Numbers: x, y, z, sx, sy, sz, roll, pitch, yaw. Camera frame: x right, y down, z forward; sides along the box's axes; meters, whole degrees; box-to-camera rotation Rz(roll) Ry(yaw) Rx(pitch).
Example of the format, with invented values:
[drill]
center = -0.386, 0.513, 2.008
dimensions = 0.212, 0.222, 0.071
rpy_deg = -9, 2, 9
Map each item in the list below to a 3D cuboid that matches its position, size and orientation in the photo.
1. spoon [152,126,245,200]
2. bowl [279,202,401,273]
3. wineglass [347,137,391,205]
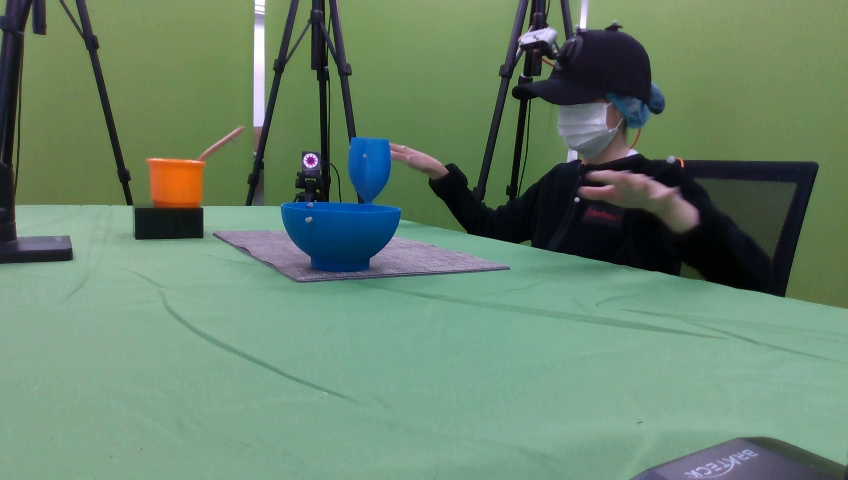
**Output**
[spoon]
center = -0.376, -0.131, 1.017
dimensions = 0.041, 0.194, 0.022
rpy_deg = 13, -32, 55
[bowl]
center = -0.105, -0.003, 0.756
dimensions = 0.151, 0.077, 0.151
rpy_deg = 3, 7, 0
[wineglass]
center = -0.093, -0.081, 0.996
dimensions = 0.074, 0.172, 0.073
rpy_deg = 3, 7, 0
